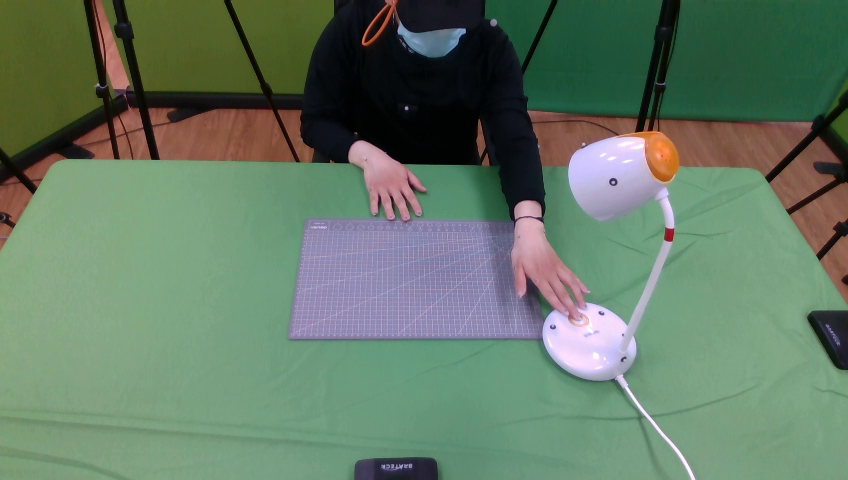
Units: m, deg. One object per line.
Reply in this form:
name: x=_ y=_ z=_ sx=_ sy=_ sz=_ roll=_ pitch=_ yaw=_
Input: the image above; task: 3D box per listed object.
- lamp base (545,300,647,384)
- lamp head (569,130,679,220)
lamp base: x=0.299 y=0.124 z=0.984 sx=0.161 sy=0.181 sz=0.178 roll=-23 pitch=55 yaw=-23
lamp head: x=0.273 y=-0.090 z=0.799 sx=0.113 sy=0.122 sz=0.112 roll=7 pitch=77 yaw=-33
